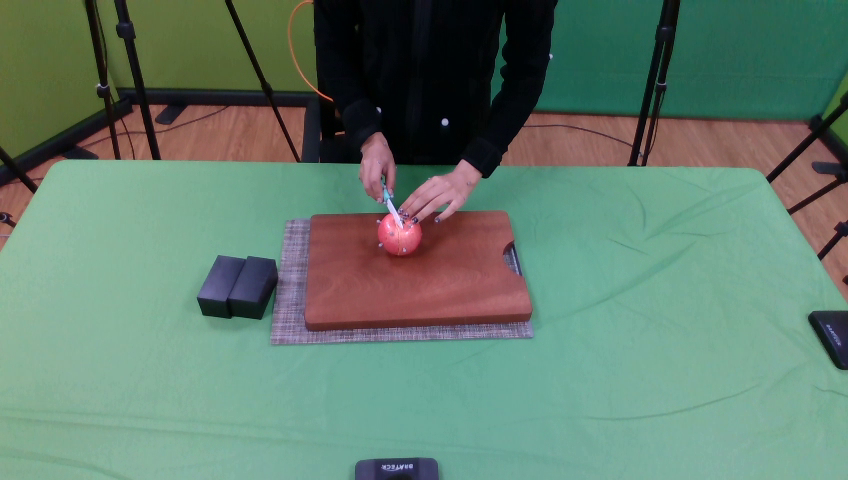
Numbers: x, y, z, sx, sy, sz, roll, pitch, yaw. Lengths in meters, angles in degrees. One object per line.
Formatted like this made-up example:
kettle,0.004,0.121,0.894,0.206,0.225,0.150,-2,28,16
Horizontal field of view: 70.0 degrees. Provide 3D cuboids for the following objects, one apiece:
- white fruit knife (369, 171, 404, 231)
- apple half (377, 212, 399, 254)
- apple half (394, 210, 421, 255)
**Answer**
white fruit knife,-0.070,-0.077,1.141,0.016,0.027,0.206,-9,37,-18
apple half,-0.070,-0.008,1.124,0.033,0.081,0.080,-8,47,-16
apple half,-0.033,-0.013,1.134,0.053,0.075,0.080,-7,44,-17
